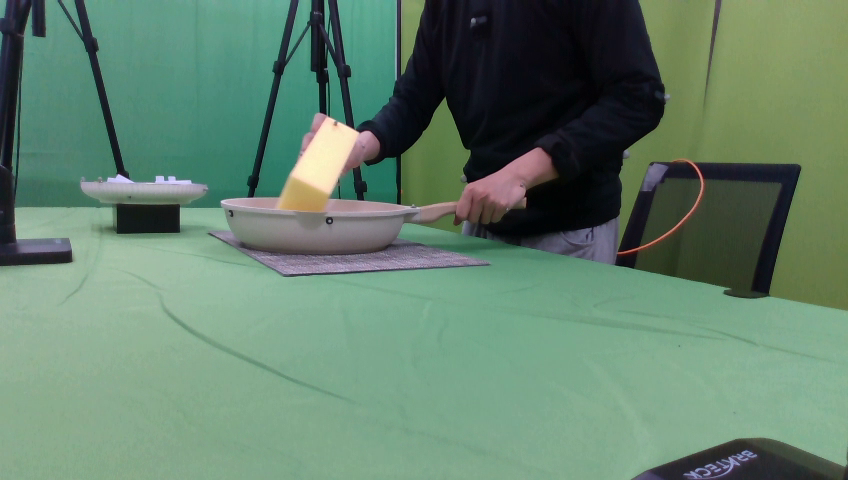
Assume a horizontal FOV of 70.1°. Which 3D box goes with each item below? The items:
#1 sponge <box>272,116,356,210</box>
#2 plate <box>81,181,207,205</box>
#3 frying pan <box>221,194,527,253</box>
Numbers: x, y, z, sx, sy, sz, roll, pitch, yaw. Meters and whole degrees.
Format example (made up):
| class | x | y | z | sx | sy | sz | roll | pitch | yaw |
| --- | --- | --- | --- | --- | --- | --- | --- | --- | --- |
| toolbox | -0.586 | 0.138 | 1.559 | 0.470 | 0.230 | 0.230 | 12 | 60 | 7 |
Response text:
| class | x | y | z | sx | sy | sz | roll | pitch | yaw |
| --- | --- | --- | --- | --- | --- | --- | --- | --- | --- |
| sponge | -0.176 | -0.092 | 0.942 | 0.061 | 0.118 | 0.206 | 26 | 35 | -10 |
| plate | -0.505 | -0.086 | 1.100 | 0.208 | 0.039 | 0.207 | 1 | 6 | 0 |
| frying pan | -0.070 | -0.043 | 0.983 | 0.489 | 0.102 | 0.306 | -7 | 9 | -5 |
